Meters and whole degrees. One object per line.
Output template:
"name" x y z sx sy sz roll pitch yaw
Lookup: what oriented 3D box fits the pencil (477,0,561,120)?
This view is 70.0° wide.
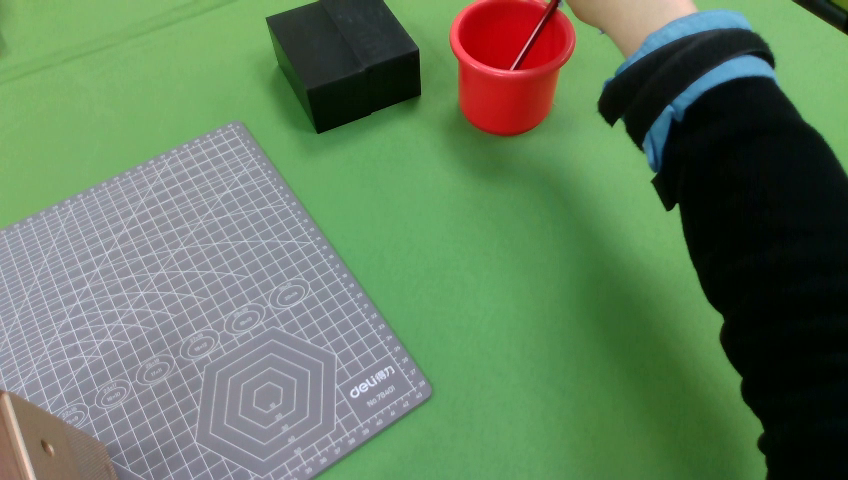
"pencil" 0.097 -0.179 0.484 0.012 0.012 0.194 42 109 24

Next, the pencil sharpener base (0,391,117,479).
"pencil sharpener base" -0.216 0.135 0.310 0.077 0.108 0.061 -31 61 -17
